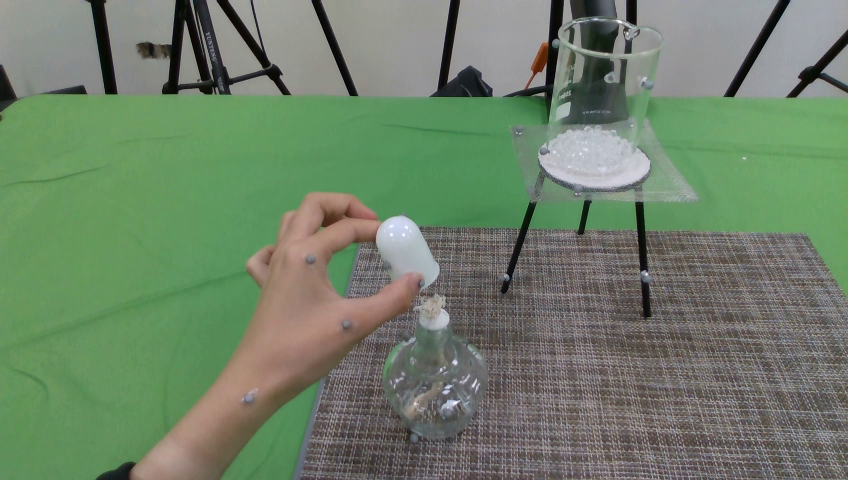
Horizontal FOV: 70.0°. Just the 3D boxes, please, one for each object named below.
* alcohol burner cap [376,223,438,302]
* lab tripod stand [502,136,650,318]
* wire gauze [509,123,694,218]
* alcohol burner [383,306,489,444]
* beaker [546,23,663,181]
[{"bbox_3d":[-0.013,0.011,0.374,0.034,0.048,0.033,-12,37,10],"label":"alcohol burner cap"},{"bbox_3d":[0.143,-0.012,0.530,0.148,0.132,0.147,0,38,1],"label":"lab tripod stand"},{"bbox_3d":[0.137,-0.060,0.486,0.125,0.011,0.120,1,41,-2],"label":"wire gauze"},{"bbox_3d":[0.008,0.089,0.428,0.078,0.120,0.077,-1,40,1],"label":"alcohol burner"},{"bbox_3d":[0.134,-0.104,0.462,0.073,0.101,0.084,26,46,29],"label":"beaker"}]
